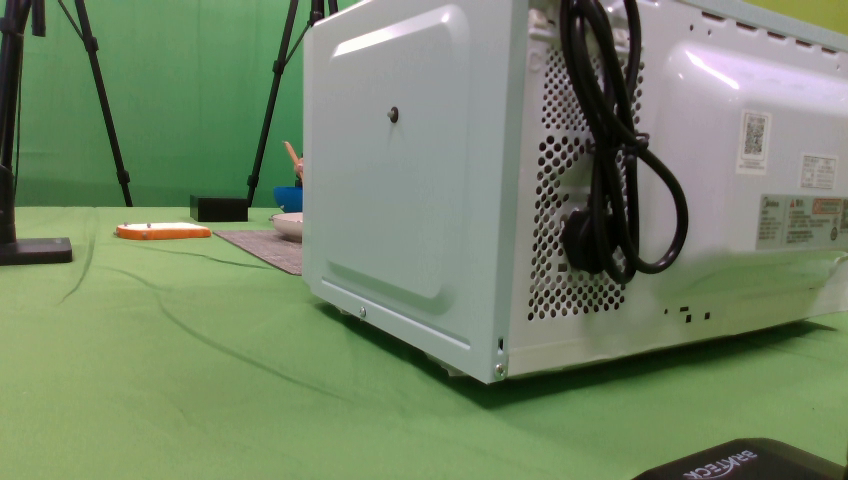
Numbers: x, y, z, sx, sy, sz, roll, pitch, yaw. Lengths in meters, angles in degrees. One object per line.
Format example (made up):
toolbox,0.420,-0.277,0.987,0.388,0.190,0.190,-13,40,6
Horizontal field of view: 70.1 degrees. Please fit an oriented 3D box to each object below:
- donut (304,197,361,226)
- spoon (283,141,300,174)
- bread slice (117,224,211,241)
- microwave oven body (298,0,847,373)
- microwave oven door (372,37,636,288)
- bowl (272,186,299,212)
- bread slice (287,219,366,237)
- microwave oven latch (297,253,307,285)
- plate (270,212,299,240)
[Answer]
donut,-0.159,-0.050,1.055,0.099,0.048,0.099,3,8,0
spoon,-0.272,-0.144,1.338,0.042,0.193,0.021,-6,-25,-43
bread slice,-0.443,-0.015,1.022,0.132,0.019,0.104,-3,8,-45
microwave oven body,0.151,-0.055,0.542,0.444,0.260,0.324,-2,7,-33
microwave oven door,0.109,-0.080,0.686,0.358,0.243,0.039,-2,9,-33
bowl,-0.254,-0.075,1.318,0.151,0.077,0.151,2,7,0
bread slice,-0.170,-0.022,1.056,0.134,0.018,0.107,2,7,-6
microwave oven latch,-0.081,0.027,0.582,0.079,0.029,0.030,-1,7,-32
plate,-0.162,-0.022,1.058,0.208,0.039,0.207,2,7,0
